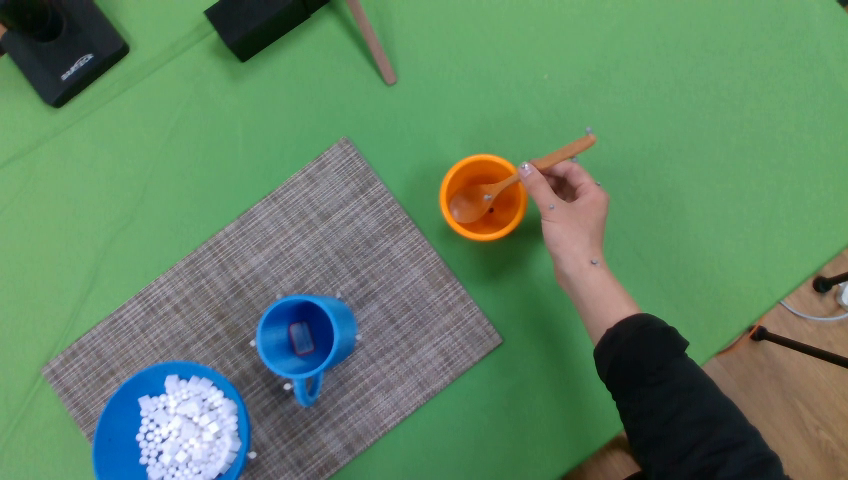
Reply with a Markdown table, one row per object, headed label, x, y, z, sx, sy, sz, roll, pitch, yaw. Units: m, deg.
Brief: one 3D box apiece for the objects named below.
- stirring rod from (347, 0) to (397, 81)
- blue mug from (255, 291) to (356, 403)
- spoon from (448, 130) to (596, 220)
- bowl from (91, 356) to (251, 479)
| label | x | y | z | sx | sy | sz | roll | pitch | yaw |
| --- | --- | --- | --- | --- | --- | --- | --- | --- | --- |
| stirring rod | -0.076 | -0.264 | 0.688 | 0.014 | 0.006 | 0.177 | -29 | 106 | -5 |
| blue mug | -0.122 | 0.112 | 0.640 | 0.082 | 0.106 | 0.116 | 0 | 85 | 3 |
| spoon | 0.095 | -0.066 | 0.625 | 0.022 | 0.193 | 0.041 | -6 | 76 | -42 |
| bowl | -0.237 | 0.196 | 0.605 | 0.151 | 0.077 | 0.150 | -1 | 73 | 3 |
